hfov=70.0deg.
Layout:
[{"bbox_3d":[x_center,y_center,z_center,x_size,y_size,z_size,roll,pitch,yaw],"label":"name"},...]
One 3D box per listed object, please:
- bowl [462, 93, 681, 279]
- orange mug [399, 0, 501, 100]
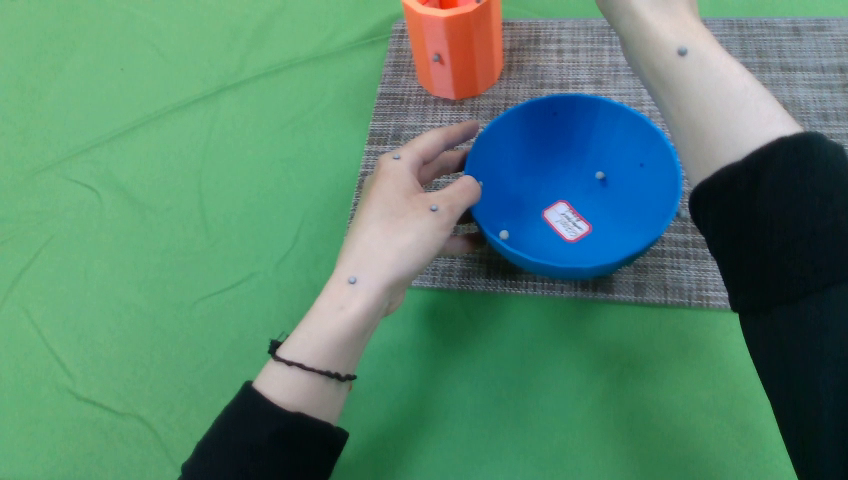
[{"bbox_3d":[0.106,-0.028,0.456,0.151,0.077,0.150,-4,60,7],"label":"bowl"},{"bbox_3d":[0.031,-0.209,0.558,0.083,0.102,0.125,14,68,16],"label":"orange mug"}]
